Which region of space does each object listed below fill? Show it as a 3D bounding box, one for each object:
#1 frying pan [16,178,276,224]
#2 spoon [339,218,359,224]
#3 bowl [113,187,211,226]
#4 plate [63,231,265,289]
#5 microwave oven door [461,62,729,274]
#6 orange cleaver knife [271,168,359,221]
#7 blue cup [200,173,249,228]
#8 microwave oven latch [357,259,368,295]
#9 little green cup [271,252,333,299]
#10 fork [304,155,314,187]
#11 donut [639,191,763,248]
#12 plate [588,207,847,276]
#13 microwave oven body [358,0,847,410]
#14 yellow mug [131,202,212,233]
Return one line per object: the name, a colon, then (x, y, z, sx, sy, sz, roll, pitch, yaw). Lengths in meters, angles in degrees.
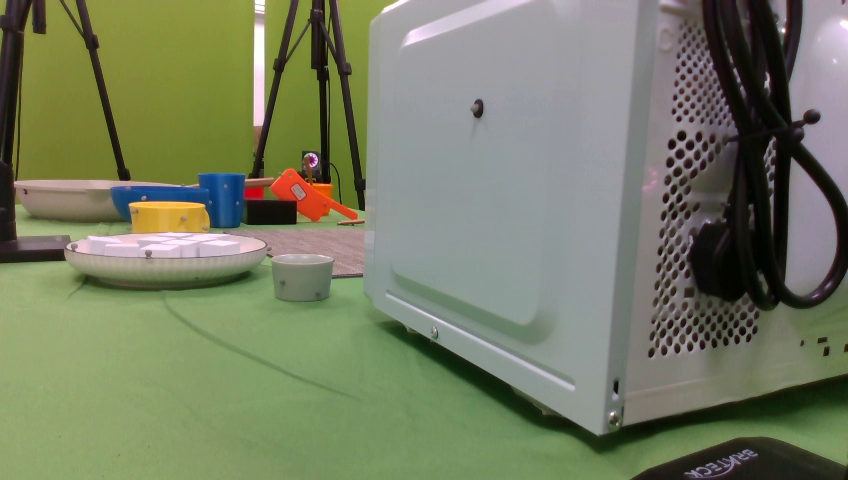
frying pan: (-0.553, -0.097, 1.266, 0.490, 0.102, 0.305, -10, 13, -24)
spoon: (-0.087, -0.041, 1.268, 0.193, 0.021, 0.041, 4, 20, 13)
bowl: (-0.436, -0.046, 1.013, 0.151, 0.077, 0.151, 2, 7, 0)
plate: (-0.288, 0.021, 0.687, 0.208, 0.039, 0.207, 2, 8, 0)
microwave oven door: (0.203, -0.099, 0.805, 0.354, 0.243, 0.039, 8, 10, 39)
orange cleaver knife: (-0.236, -0.084, 1.333, 0.212, 0.077, 0.012, 31, -9, -31)
blue cup: (-0.381, -0.076, 1.155, 0.093, 0.100, 0.092, 1, 8, 0)
microwave oven latch: (-0.019, 0.031, 0.529, 0.079, 0.029, 0.030, -1, 7, -26)
little green cup: (-0.122, 0.035, 0.605, 0.061, 0.038, 0.061, 3, 7, 0)
fork: (-0.268, -0.134, 1.446, 0.028, 0.018, 0.207, 2, -36, -1)
donut: (0.236, -0.017, 0.519, 0.099, 0.048, 0.099, 3, 5, 0)
plate: (0.245, -0.001, 0.511, 0.209, 0.038, 0.209, 2, 7, 0)
microwave oven body: (0.210, -0.051, 0.471, 0.444, 0.260, 0.324, -1, 7, -28)
yellow mug: (-0.356, -0.020, 0.878, 0.099, 0.064, 0.131, 5, 7, 21)
